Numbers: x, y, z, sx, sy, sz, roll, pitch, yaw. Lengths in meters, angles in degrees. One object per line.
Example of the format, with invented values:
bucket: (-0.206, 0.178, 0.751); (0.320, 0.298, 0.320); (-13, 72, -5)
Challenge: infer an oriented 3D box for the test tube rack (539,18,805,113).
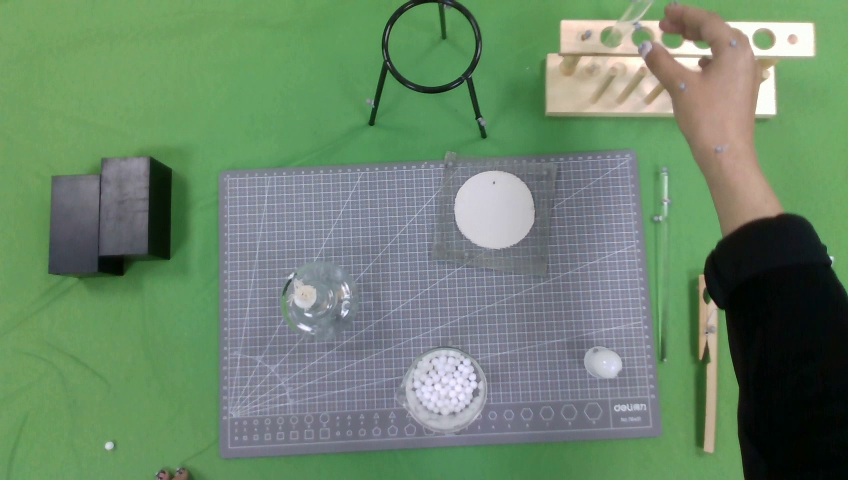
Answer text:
test tube rack: (0.247, -0.178, 0.625); (0.242, 0.085, 0.066); (1, 82, 1)

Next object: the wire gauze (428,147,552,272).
wire gauze: (0.071, -0.034, 0.646); (0.125, 0.011, 0.121); (8, 84, 1)

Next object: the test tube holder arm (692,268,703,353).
test tube holder arm: (0.285, 0.073, 0.628); (0.010, 0.015, 0.087); (-3, 82, 35)

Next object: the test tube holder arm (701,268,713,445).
test tube holder arm: (0.289, 0.118, 0.620); (0.013, 0.015, 0.178); (-4, 82, 35)

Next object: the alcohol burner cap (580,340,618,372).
alcohol burner cap: (0.178, 0.117, 0.609); (0.034, 0.048, 0.034); (0, 82, 1)

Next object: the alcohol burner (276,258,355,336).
alcohol burner: (-0.108, 0.053, 0.584); (0.078, 0.119, 0.077); (0, 82, 3)

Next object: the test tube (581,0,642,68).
test tube: (0.178, -0.200, 0.579); (0.017, 0.150, 0.017); (0, 82, -2)

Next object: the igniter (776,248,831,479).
igniter: (0.385, 0.145, 0.612); (0.057, 0.025, 0.275); (7, 83, -9)

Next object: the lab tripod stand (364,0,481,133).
lab tripod stand: (0.000, -0.167, 0.603); (0.148, 0.132, 0.148); (0, 84, 1)

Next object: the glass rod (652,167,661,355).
glass rod: (0.245, 0.021, 0.639); (0.008, 0.008, 0.199); (2, 85, 1)

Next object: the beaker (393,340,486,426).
beaker: (0.015, 0.133, 0.580); (0.084, 0.100, 0.073); (-11, 82, 0)
